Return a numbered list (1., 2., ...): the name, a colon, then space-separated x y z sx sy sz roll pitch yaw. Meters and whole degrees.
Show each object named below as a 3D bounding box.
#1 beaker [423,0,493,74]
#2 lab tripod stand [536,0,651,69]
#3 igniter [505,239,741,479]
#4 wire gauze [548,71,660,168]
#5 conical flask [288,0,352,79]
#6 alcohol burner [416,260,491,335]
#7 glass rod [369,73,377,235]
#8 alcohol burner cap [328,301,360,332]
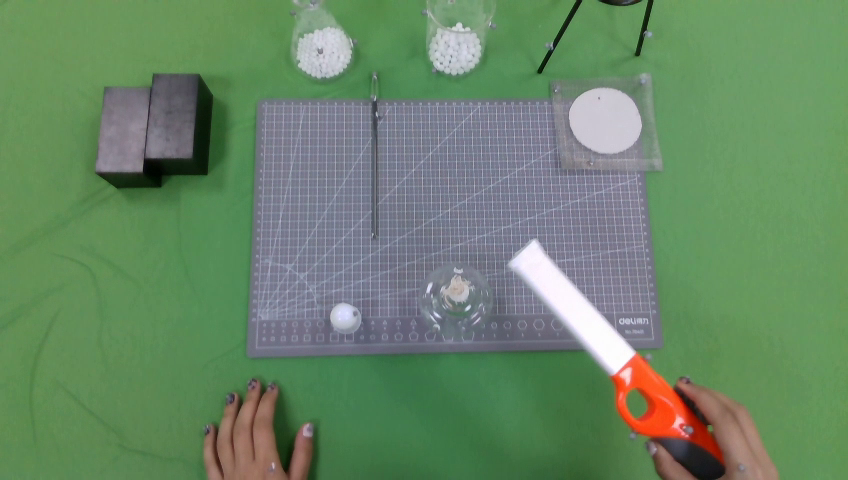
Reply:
1. beaker: 0.035 -0.246 0.691 0.074 0.100 0.083 2 76 -2
2. lab tripod stand: 0.194 -0.268 0.686 0.148 0.132 0.147 1 79 -2
3. igniter: 0.171 0.111 0.512 0.057 0.025 0.276 -42 91 -8
4. wire gauze: 0.214 -0.143 0.719 0.125 0.011 0.121 -2 77 -3
5. conical flask: -0.122 -0.239 0.671 0.075 0.122 0.075 1 76 -2
6. alcohol burner: 0.031 0.056 0.612 0.078 0.119 0.077 0 78 -2
7. glass rod: -0.059 -0.102 0.697 0.008 0.008 0.198 -1 77 -3
8. alcohol burner cap: -0.086 0.079 0.638 0.034 0.048 0.033 1 77 -2
